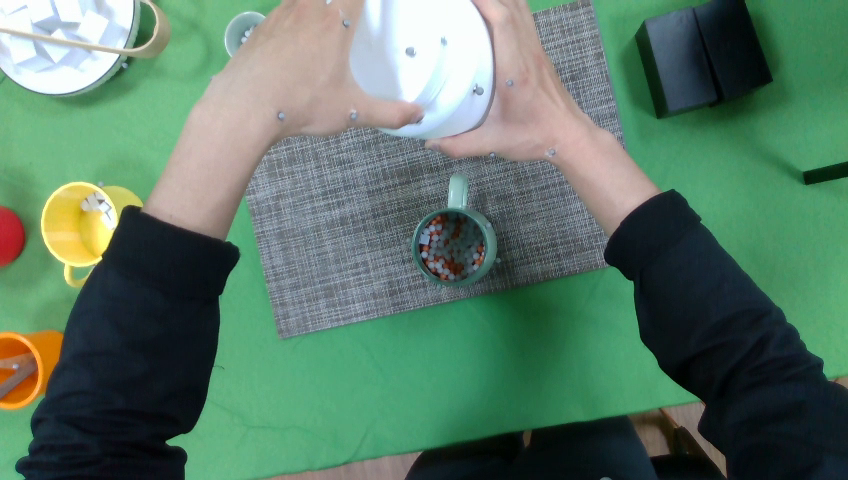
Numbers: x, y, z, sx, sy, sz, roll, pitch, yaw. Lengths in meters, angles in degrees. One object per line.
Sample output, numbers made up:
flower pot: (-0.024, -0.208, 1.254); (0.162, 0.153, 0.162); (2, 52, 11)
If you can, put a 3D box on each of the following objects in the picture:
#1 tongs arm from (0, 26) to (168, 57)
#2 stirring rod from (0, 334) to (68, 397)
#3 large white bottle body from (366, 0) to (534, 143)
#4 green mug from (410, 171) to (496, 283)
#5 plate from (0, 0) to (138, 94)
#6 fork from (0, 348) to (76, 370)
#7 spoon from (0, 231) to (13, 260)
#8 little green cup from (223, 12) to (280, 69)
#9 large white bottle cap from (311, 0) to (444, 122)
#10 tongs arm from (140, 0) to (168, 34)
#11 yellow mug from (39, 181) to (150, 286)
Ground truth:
tongs arm: (-0.490, -0.268, 0.724); (0.384, 0.026, 0.050); (16, 90, 8)
stirring rod: (-0.502, 0.176, 0.719); (0.014, 0.006, 0.175); (37, 53, 5)
large white bottle body: (0.006, -0.156, 0.536); (0.130, 0.185, 0.131); (3, 96, 30)
green mug: (0.032, -0.013, 0.661); (0.092, 0.105, 0.125); (4, 91, 8)
plate: (-0.447, -0.283, 0.750); (0.207, 0.039, 0.207); (0, 92, 7)
fork: (-0.532, 0.145, 0.716); (0.209, 0.018, 0.028); (4, 89, -36)
spoon: (-0.567, -0.046, 0.717); (0.041, 0.021, 0.196); (-17, 134, 7)
little green cup: (-0.202, -0.234, 0.720); (0.061, 0.038, 0.061); (0, 92, 7)
large white bottle cap: (-0.038, -0.149, 0.462); (0.114, 0.018, 0.115); (3, 97, 30)
tongs arm: (-0.461, -0.346, 0.720); (0.386, 0.028, 0.028); (30, 88, 7)
yellow mug: (-0.404, -0.005, 0.739); (0.100, 0.064, 0.131); (20, 95, 6)
